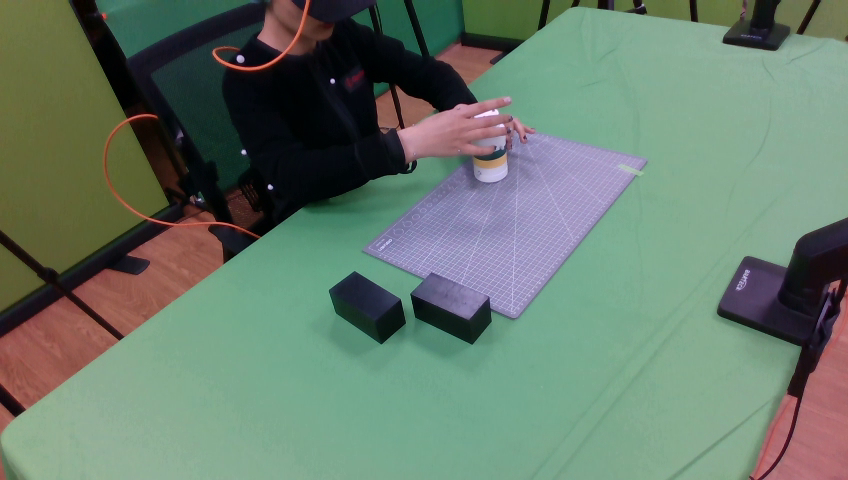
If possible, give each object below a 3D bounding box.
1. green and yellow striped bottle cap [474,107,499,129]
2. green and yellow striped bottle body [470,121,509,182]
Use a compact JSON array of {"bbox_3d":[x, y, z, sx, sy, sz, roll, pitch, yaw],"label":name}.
[{"bbox_3d":[0.107,-0.211,1.042,0.045,0.020,0.045,-3,42,3],"label":"green and yellow striped bottle cap"},{"bbox_3d":[0.117,-0.168,1.078,0.063,0.120,0.063,-6,40,5],"label":"green and yellow striped bottle body"}]
